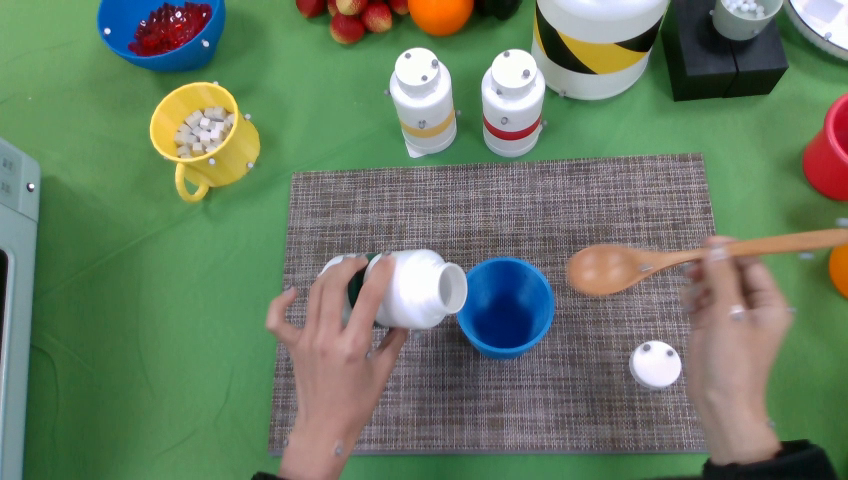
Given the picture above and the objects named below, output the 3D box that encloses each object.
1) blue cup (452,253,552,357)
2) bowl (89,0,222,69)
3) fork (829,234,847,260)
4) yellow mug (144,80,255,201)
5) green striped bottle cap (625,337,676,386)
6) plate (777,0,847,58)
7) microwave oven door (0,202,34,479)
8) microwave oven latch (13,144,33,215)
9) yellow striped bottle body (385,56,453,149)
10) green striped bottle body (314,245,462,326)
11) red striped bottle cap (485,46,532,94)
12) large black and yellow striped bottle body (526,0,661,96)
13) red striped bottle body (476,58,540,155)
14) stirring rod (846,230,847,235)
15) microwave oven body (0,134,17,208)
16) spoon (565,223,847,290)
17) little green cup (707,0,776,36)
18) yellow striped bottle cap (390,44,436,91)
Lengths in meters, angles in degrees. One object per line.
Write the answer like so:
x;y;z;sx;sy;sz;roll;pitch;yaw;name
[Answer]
0.070;0.069;0.559;0.092;0.101;0.092;-2;69;5;blue cup
-0.308;-0.262;0.733;0.151;0.077;0.150;-2;71;5;bowl
0.446;0.032;0.509;0.028;0.019;0.205;-40;27;-7;fork
-0.253;-0.106;0.678;0.100;0.064;0.130;8;72;8;yellow mug
0.214;0.115;0.573;0.044;0.020;0.044;-2;67;5;green striped bottle cap
0.494;-0.282;0.673;0.209;0.038;0.207;-2;71;6;plate
-0.439;0.102;0.514;0.039;0.245;0.353;-11;70;3;microwave oven door
-0.463;-0.067;0.683;0.030;0.030;0.078;-9;71;3;microwave oven latch
-0.005;-0.151;0.638;0.063;0.121;0.062;-2;70;7;yellow striped bottle body
-0.027;0.038;0.489;0.118;0.064;0.063;-6;66;38;green striped bottle body
0.081;-0.162;0.577;0.044;0.018;0.044;-1;69;2;red striped bottle cap
0.174;-0.249;0.619;0.130;0.185;0.130;-2;70;6;large black and yellow striped bottle body
0.088;-0.143;0.626;0.063;0.120;0.062;-4;68;10;red striped bottle body
0.416;0.032;0.520;0.014;0.006;0.175;0;27;4;stirring rod
-0.588;0.093;0.539;0.326;0.262;0.438;-11;70;2;microwave oven body
0.203;0.009;0.450;0.193;0.022;0.041;-10;66;25;spoon
0.324;-0.243;0.624;0.061;0.039;0.061;-2;69;4;little green cup
-0.011;-0.168;0.590;0.044;0.019;0.044;-2;72;5;yellow striped bottle cap
